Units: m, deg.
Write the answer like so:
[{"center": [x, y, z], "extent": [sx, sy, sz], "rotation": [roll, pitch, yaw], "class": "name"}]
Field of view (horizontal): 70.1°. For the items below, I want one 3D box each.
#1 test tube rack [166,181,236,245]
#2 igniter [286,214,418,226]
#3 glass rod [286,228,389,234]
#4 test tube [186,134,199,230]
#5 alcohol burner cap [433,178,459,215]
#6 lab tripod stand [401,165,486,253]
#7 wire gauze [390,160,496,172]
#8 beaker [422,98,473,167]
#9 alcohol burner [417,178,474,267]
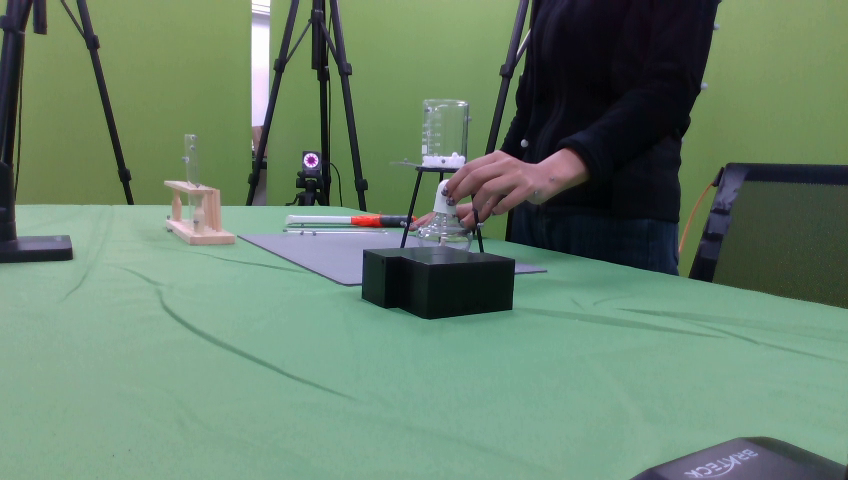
[{"center": [-0.383, -0.051, 1.024], "extent": [0.067, 0.085, 0.241], "rotation": [-2, 9, -31], "class": "test tube rack"}, {"center": [-0.146, -0.043, 1.263], "extent": [0.278, 0.025, 0.057], "rotation": [-1, -2, -24], "class": "igniter"}, {"center": [-0.154, -0.016, 1.101], "extent": [0.201, 0.008, 0.008], "rotation": [1, 6, -31], "class": "glass rod"}, {"center": [-0.360, -0.089, 0.946], "extent": [0.017, 0.150, 0.017], "rotation": [0, 10, 0], "class": "test tube"}, {"center": [0.031, -0.059, 0.806], "extent": [0.034, 0.048, 0.034], "rotation": [9, 7, -1], "class": "alcohol burner cap"}, {"center": [0.028, -0.049, 0.930], "extent": [0.148, 0.131, 0.148], "rotation": [2, 9, 0], "class": "lab tripod stand"}, {"center": [0.027, -0.114, 0.920], "extent": [0.122, 0.011, 0.124], "rotation": [-5, 13, -34], "class": "wire gauze"}, {"center": [0.031, -0.162, 0.919], "extent": [0.074, 0.100, 0.083], "rotation": [-4, 10, -36], "class": "beaker"}, {"center": [0.029, -0.024, 0.810], "extent": [0.078, 0.119, 0.078], "rotation": [1, 8, 0], "class": "alcohol burner"}]
